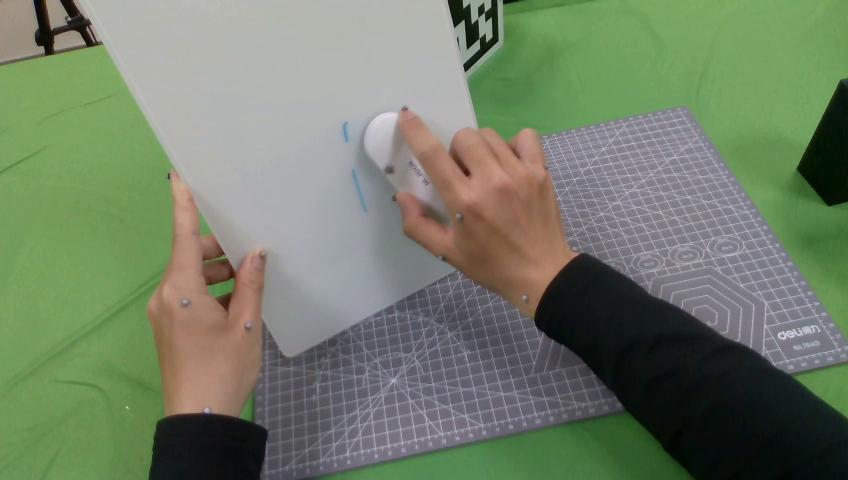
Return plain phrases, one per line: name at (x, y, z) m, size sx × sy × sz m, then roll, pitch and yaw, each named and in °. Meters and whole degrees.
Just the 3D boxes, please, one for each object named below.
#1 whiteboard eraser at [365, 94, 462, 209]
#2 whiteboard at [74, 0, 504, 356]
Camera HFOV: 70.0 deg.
whiteboard eraser at (-0.007, -0.065, 0.456) m, size 0.041 × 0.102 × 0.018 m, roll -41°, pitch 34°, yaw -3°
whiteboard at (-0.090, -0.102, 0.488) m, size 0.217 × 0.308 × 0.142 m, roll -27°, pitch 35°, yaw -12°
